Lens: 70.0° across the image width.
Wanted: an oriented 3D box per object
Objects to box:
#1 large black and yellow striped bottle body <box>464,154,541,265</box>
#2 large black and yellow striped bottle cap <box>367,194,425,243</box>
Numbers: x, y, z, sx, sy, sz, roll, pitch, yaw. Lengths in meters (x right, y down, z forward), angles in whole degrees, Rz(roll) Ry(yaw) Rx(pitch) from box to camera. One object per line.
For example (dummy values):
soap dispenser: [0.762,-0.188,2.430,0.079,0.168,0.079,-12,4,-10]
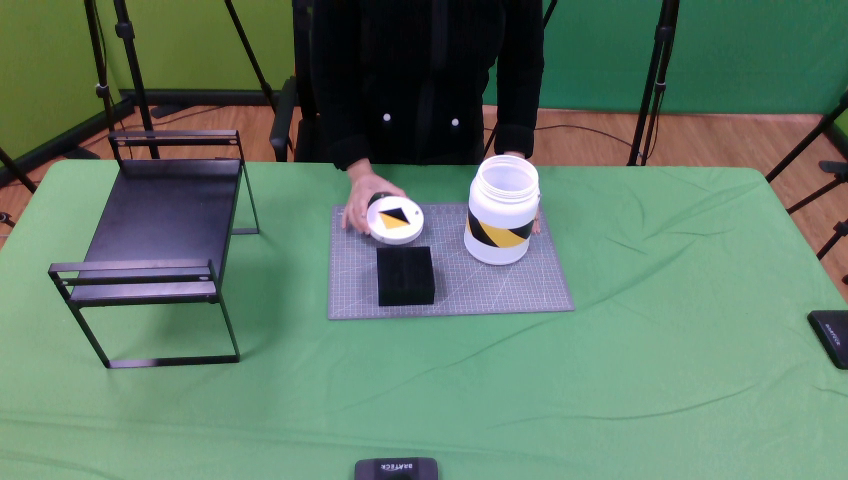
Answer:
large black and yellow striped bottle body: [0.149,-0.058,1.145,0.131,0.185,0.130,2,46,-2]
large black and yellow striped bottle cap: [-0.055,-0.044,1.195,0.115,0.019,0.114,3,51,-3]
